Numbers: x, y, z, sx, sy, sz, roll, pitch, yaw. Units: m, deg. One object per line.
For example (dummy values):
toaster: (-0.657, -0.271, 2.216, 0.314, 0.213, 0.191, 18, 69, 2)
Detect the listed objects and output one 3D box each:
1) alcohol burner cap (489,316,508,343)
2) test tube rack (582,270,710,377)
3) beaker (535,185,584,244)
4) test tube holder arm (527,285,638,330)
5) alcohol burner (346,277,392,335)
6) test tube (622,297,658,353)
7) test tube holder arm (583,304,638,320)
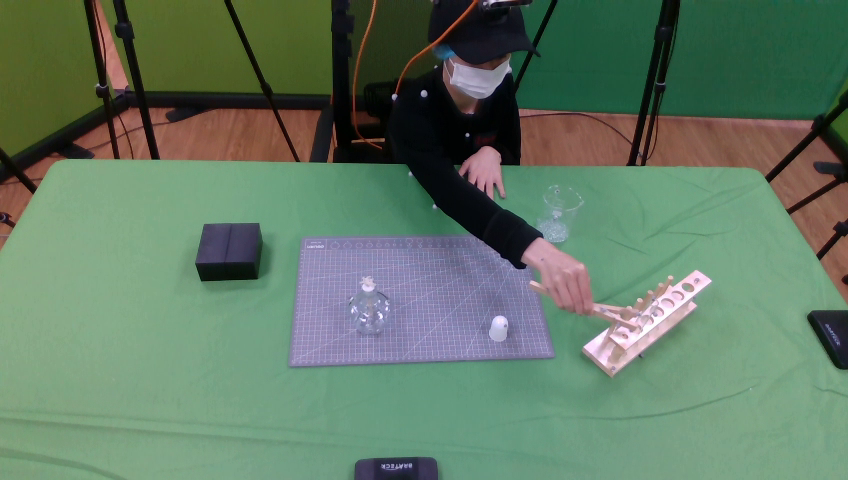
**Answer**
alcohol burner cap: (0.130, 0.151, 1.045, 0.034, 0.048, 0.033, 2, 47, -2)
test tube rack: (0.389, 0.132, 1.057, 0.242, 0.085, 0.066, -28, 54, -28)
beaker: (0.268, -0.048, 1.213, 0.084, 0.101, 0.073, 6, 46, 0)
test tube holder arm: (0.252, 0.107, 0.968, 0.178, 0.015, 0.013, 18, 40, 11)
alcohol burner: (-0.093, 0.106, 1.021, 0.078, 0.120, 0.077, 1, 46, -1)
test tube: (0.343, 0.140, 0.976, 0.017, 0.151, 0.017, 2, 50, -3)
test tube holder arm: (0.296, 0.114, 0.967, 0.088, 0.015, 0.010, 7, 40, -3)
